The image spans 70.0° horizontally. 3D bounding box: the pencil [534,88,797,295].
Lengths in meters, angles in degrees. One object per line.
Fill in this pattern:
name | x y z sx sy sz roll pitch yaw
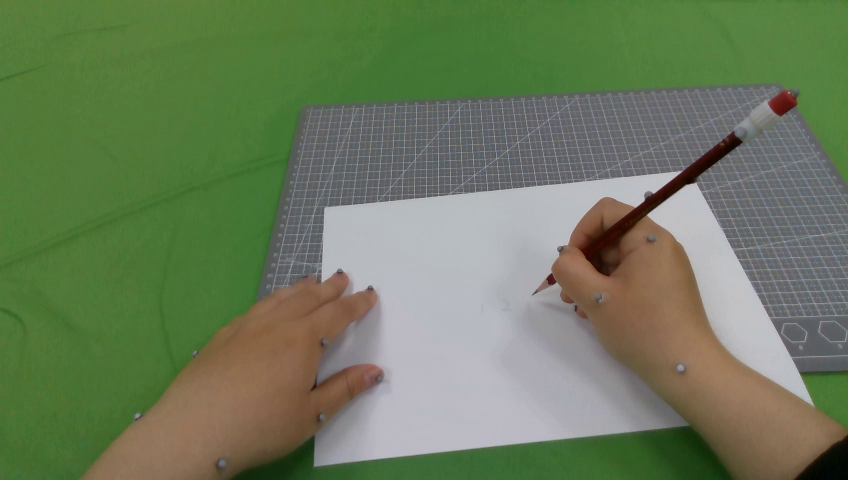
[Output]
pencil | 0.122 -0.015 0.346 0.012 0.194 0.012 19 48 -23
